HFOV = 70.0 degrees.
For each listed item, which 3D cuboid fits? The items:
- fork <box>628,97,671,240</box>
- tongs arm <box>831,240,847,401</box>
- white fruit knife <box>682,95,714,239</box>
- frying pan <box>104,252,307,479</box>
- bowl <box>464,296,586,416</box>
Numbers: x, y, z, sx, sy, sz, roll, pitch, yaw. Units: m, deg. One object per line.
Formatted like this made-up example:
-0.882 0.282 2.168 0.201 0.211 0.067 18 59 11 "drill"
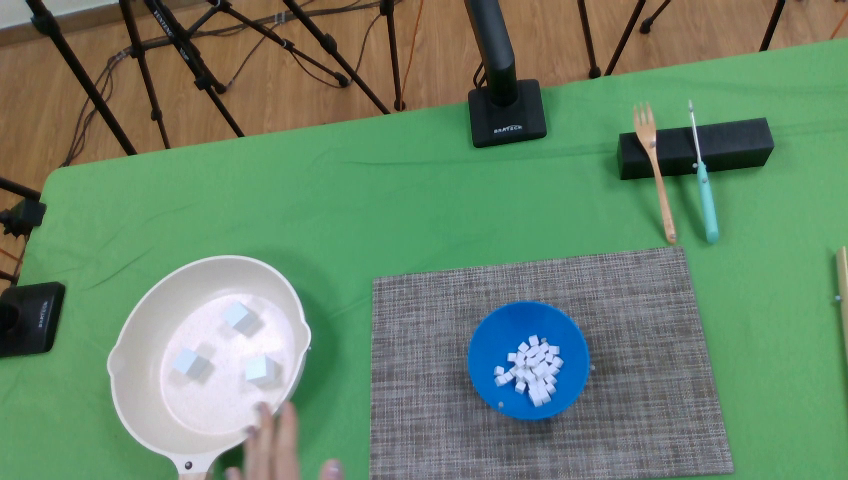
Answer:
0.323 -0.102 0.861 0.028 0.019 0.206 -11 84 1 "fork"
0.521 0.179 0.721 0.028 0.028 0.385 3 66 11 "tongs arm"
0.381 -0.105 0.850 0.016 0.027 0.206 -9 80 14 "white fruit knife"
-0.303 0.247 0.820 0.306 0.104 0.483 -7 55 9 "frying pan"
0.131 0.156 0.781 0.151 0.077 0.150 -5 64 10 "bowl"
